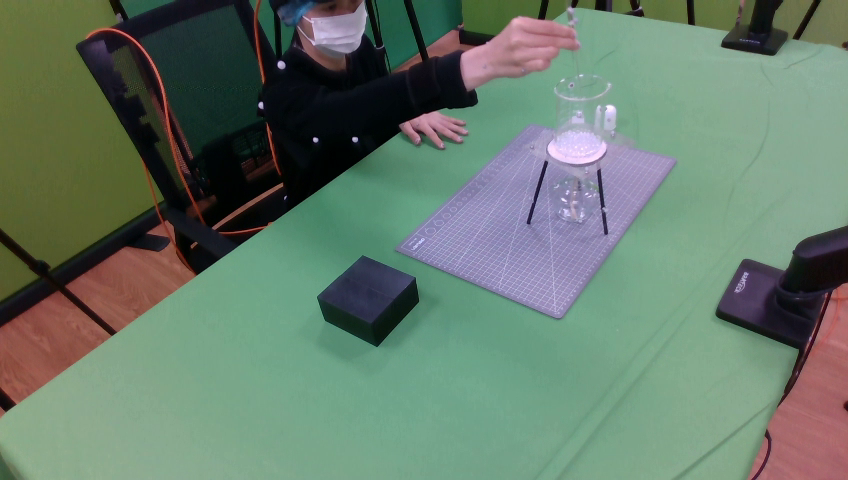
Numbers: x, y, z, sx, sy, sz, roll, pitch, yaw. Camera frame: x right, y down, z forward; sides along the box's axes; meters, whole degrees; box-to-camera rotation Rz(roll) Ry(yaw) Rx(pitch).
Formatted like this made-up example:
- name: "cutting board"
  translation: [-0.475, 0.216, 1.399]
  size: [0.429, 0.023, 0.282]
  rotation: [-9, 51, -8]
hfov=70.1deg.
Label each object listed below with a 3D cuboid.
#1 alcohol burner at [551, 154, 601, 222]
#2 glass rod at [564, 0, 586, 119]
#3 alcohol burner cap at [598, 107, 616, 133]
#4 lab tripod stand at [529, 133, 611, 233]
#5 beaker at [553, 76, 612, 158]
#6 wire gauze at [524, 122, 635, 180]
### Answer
- name: "alcohol burner"
  translation: [0.244, -0.088, 0.966]
  size: [0.078, 0.119, 0.077]
  rotation: [-3, 40, 3]
- name: "glass rod"
  translation: [0.204, -0.246, 0.816]
  size: [0.008, 0.201, 0.008]
  rotation: [-12, 43, 12]
- name: "alcohol burner cap"
  translation: [0.361, -0.239, 1.189]
  size: [0.034, 0.048, 0.033]
  rotation: [-4, 40, 4]
- name: "lab tripod stand"
  translation: [0.236, -0.089, 0.953]
  size: [0.148, 0.132, 0.147]
  rotation: [-5, 42, 5]
- name: "beaker"
  translation: [0.230, -0.178, 0.882]
  size: [0.084, 0.101, 0.073]
  rotation: [-9, 41, 1]
- name: "wire gauze"
  translation: [0.233, -0.142, 0.913]
  size: [0.122, 0.011, 0.124]
  rotation: [-31, 43, -26]
